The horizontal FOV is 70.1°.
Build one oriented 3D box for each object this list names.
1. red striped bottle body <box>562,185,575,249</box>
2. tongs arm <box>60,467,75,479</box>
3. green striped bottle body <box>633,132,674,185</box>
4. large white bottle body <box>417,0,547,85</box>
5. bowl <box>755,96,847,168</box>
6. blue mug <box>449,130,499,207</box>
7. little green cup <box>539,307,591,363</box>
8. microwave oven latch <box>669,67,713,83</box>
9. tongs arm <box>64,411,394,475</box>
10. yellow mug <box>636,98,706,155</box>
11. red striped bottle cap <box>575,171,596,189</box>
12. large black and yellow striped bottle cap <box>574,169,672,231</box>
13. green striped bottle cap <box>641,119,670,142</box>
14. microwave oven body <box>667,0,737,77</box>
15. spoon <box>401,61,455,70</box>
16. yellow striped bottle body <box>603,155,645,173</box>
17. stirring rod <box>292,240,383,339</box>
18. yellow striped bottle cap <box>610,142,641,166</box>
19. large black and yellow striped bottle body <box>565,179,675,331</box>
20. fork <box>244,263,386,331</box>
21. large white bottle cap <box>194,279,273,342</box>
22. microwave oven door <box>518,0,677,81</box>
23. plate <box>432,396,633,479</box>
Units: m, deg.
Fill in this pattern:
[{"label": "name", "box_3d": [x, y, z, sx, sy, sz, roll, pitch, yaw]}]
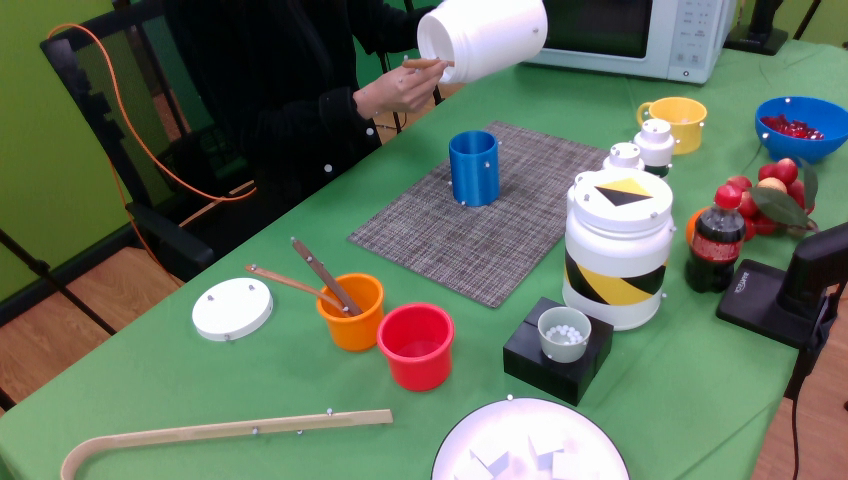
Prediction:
[{"label": "red striped bottle body", "box_3d": [0.246, -0.041, 0.910, 0.063, 0.120, 0.062, 0, 38, 0]}, {"label": "tongs arm", "box_3d": [-0.239, 0.301, 0.649, 0.386, 0.028, 0.028, 6, 49, 17]}, {"label": "green striped bottle body", "box_3d": [0.376, -0.135, 1.001, 0.063, 0.120, 0.063, -5, 40, 5]}, {"label": "large white bottle body", "box_3d": [0.093, -0.335, 0.991, 0.185, 0.131, 0.129, -27, 44, -23]}, {"label": "bowl", "box_3d": [0.645, -0.177, 1.041, 0.151, 0.077, 0.150, -5, 40, 4]}, {"label": "blue mug", "box_3d": [0.089, -0.132, 1.049, 0.082, 0.106, 0.116, 0, 40, 8]}, {"label": "little green cup", "box_3d": [0.167, 0.114, 0.721, 0.061, 0.039, 0.061, -4, 43, 4]}, {"label": "microwave oven latch", "box_3d": [0.556, -0.348, 1.261, 0.078, 0.029, 0.030, 16, 46, 27]}, {"label": "tongs arm", "box_3d": [-0.228, 0.241, 0.715, 0.385, 0.026, 0.050, -5, 44, 5]}, {"label": "yellow mug", "box_3d": [0.453, -0.217, 1.128, 0.100, 0.064, 0.129, -34, 46, -27]}, {"label": "red striped bottle cap", "box_3d": [0.242, -0.081, 0.876, 0.044, 0.018, 0.044, -5, 43, 5]}, {"label": "large black and yellow striped bottle cap", "box_3d": [0.242, -0.051, 0.738, 0.115, 0.019, 0.114, -4, 37, 3]}, {"label": "green striped bottle cap", "box_3d": [0.371, -0.175, 0.968, 0.044, 0.020, 0.044, -5, 42, 5]}, {"label": "microwave oven body", "box_3d": [0.462, -0.552, 1.369, 0.439, 0.261, 0.326, 15, 45, 26]}, {"label": "spoon", "box_3d": [0.040, -0.271, 0.945, 0.195, 0.041, 0.021, -9, 58, -37]}, {"label": "yellow striped bottle body", "box_3d": [0.314, -0.091, 0.957, 0.063, 0.121, 0.062, -4, 40, 4]}, {"label": "stirring rod", "box_3d": [-0.118, 0.068, 0.825, 0.176, 0.006, 0.014, 48, 59, -4]}, {"label": "yellow striped bottle cap", "box_3d": [0.308, -0.131, 0.925, 0.044, 0.019, 0.044, -4, 45, 4]}, {"label": "large black and yellow striped bottle body", "box_3d": [0.254, 0.014, 0.793, 0.131, 0.185, 0.130, -5, 40, 4]}, {"label": "fork", "box_3d": [-0.141, 0.077, 0.807, 0.209, 0.018, 0.028, 30, 45, -24]}, {"label": "large white bottle cap", "box_3d": [-0.284, 0.103, 0.902, 0.115, 0.018, 0.114, -4, 40, 4]}, {"label": "microwave oven door", "box_3d": [0.354, -0.478, 1.290, 0.353, 0.245, 0.039, 15, 45, 25]}, {"label": "plate", "box_3d": [0.112, 0.261, 0.634, 0.209, 0.038, 0.208, -5, 40, 4]}]
